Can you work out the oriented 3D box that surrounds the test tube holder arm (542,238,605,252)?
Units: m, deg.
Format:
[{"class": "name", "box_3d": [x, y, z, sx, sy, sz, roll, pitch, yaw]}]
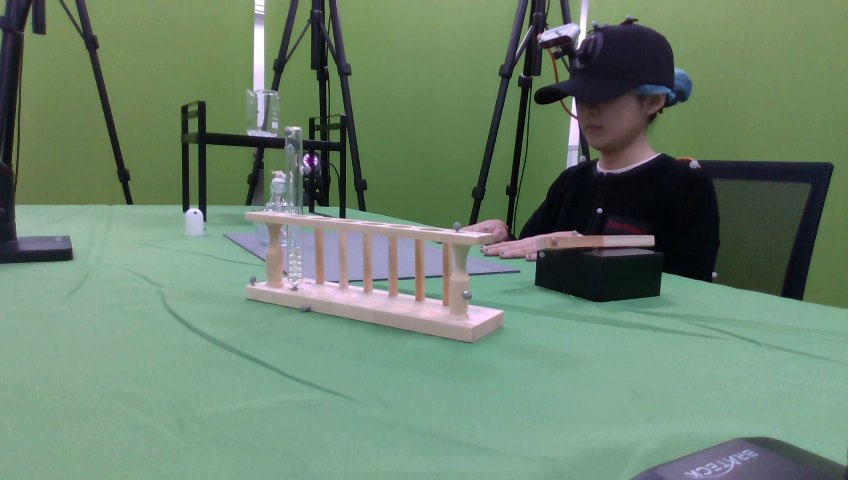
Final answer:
[{"class": "test tube holder arm", "box_3d": [0.166, 0.005, 0.666, 0.088, 0.015, 0.010, 0, -1, -32]}]

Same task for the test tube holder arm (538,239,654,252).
[{"class": "test tube holder arm", "box_3d": [0.202, 0.006, 0.695, 0.179, 0.015, 0.013, 0, -1, -32]}]

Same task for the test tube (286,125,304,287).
[{"class": "test tube", "box_3d": [-0.119, -0.030, 0.558, 0.017, 0.150, 0.017, 2, 11, 0]}]

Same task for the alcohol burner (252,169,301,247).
[{"class": "alcohol burner", "box_3d": [-0.227, -0.050, 0.937, 0.078, 0.119, 0.078, 1, 7, 0]}]

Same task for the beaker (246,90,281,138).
[{"class": "beaker", "box_3d": [-0.354, -0.275, 1.322, 0.074, 0.100, 0.084, 4, 8, 12]}]

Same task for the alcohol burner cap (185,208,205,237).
[{"class": "alcohol burner cap", "box_3d": [-0.391, -0.031, 1.032, 0.034, 0.048, 0.034, 3, 8, 0]}]

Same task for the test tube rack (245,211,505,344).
[{"class": "test tube rack", "box_3d": [-0.049, 0.025, 0.547, 0.241, 0.085, 0.067, 7, 8, 29]}]
